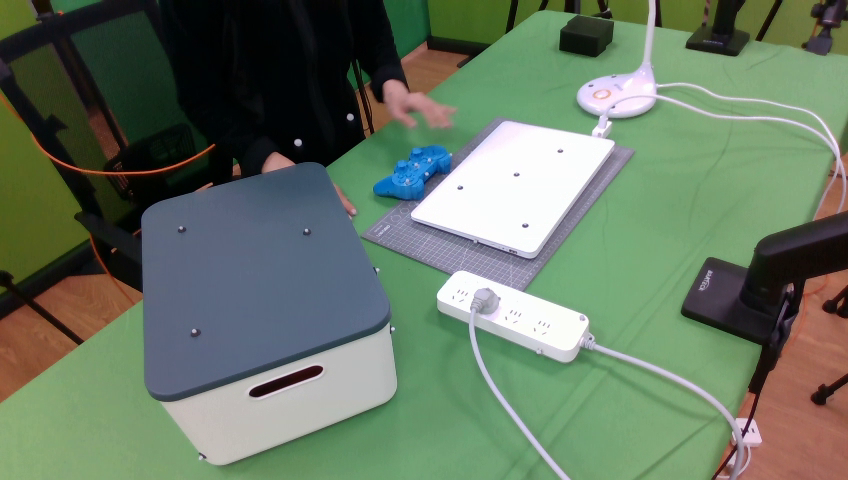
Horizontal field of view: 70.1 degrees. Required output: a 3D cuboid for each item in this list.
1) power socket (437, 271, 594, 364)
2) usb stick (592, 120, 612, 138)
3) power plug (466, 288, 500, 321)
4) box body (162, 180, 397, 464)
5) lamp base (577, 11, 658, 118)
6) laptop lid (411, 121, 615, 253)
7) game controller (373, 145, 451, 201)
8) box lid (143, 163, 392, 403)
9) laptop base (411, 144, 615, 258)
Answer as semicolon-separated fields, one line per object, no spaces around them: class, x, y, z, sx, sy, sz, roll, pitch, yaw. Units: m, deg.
power socket;0.118;0.102;0.830;0.225;0.033;0.072;20;48;28
usb stick;0.335;-0.203;1.149;0.021;0.027;0.059;25;53;26
power plug;0.072;0.093;0.813;0.035;0.053;0.073;30;54;35
box body;-0.205;0.080;0.802;0.255;0.161;0.361;-18;41;-13
lamp base;0.406;-0.363;1.223;0.180;0.181;0.159;-20;42;-18
laptop lid;0.164;-0.112;1.068;0.240;0.013;0.357;19;46;31
game controller;-0.018;-0.130;1.111;0.096;0.052;0.155;21;48;26
box lid;-0.212;0.025;0.753;0.264;0.015;0.368;-18;40;-13
laptop base;0.167;-0.102;1.074;0.234;0.023;0.355;16;45;30
